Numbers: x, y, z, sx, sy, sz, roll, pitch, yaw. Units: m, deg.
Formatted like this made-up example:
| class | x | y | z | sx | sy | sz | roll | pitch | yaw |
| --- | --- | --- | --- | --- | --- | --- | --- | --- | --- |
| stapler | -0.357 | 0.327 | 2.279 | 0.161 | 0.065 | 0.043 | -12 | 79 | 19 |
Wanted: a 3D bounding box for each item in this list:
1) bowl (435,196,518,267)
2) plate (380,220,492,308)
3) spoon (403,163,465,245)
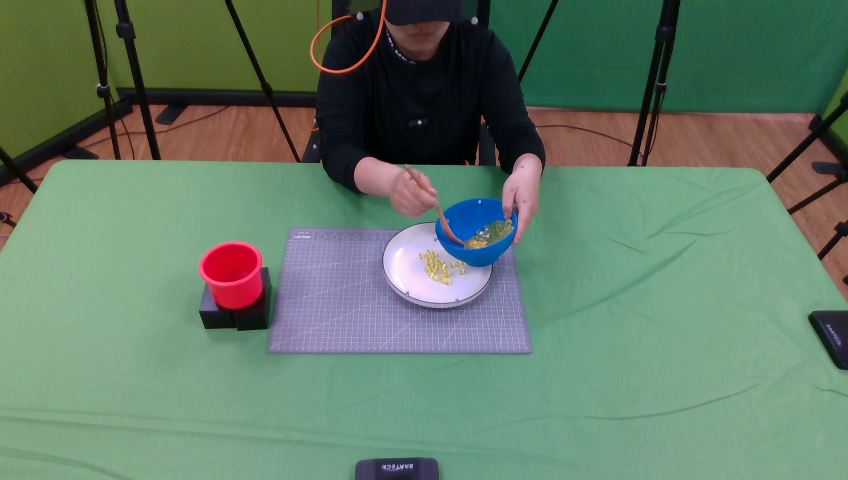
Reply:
| class | x | y | z | sx | sy | sz | roll | pitch | yaw |
| --- | --- | --- | --- | --- | --- | --- | --- | --- | --- |
| bowl | 0.100 | -0.004 | 1.107 | 0.151 | 0.077 | 0.150 | -9 | 39 | 7 |
| plate | 0.022 | 0.048 | 1.138 | 0.208 | 0.039 | 0.206 | 2 | 46 | -2 |
| spoon | 0.019 | -0.060 | 1.049 | 0.021 | 0.195 | 0.041 | -35 | 29 | -4 |
